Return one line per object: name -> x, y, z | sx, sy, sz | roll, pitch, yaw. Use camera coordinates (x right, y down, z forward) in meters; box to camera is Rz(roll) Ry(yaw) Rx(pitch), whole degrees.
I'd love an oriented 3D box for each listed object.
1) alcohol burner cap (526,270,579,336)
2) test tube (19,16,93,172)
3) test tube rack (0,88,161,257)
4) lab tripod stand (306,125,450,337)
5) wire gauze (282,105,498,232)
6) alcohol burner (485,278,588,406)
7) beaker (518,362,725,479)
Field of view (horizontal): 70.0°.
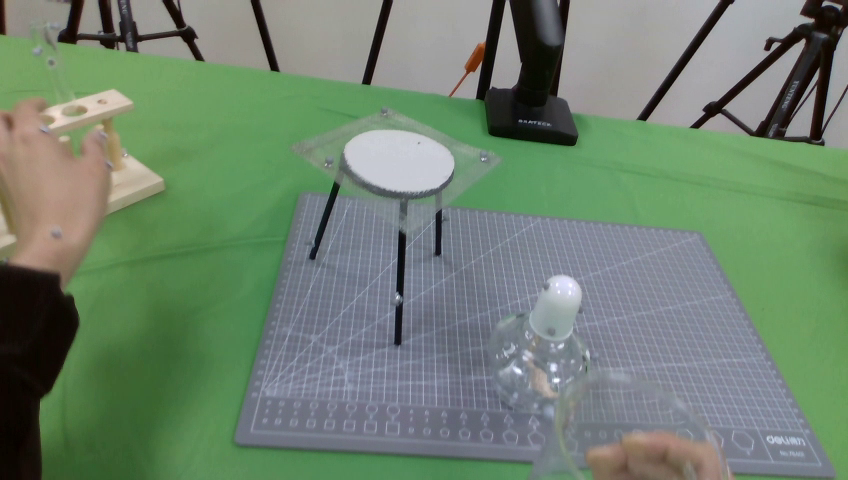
alcohol burner cap -> 0.093, 0.042, 0.427 | 0.034, 0.048, 0.033 | 4, 45, -3
test tube -> -0.324, -0.124, 0.539 | 0.017, 0.151, 0.017 | 3, 43, -3
test tube rack -> -0.358, -0.047, 0.518 | 0.066, 0.086, 0.242 | 32, 44, 23
lab tripod stand -> -0.030, -0.015, 0.509 | 0.149, 0.132, 0.147 | 7, 41, -6
wire gauze -> -0.023, -0.065, 0.465 | 0.124, 0.011, 0.121 | 33, 45, 23
alcohol burner -> 0.088, 0.069, 0.451 | 0.078, 0.120, 0.077 | 7, 39, -6
beaker -> 0.080, 0.120, 0.281 | 0.073, 0.101, 0.083 | 24, 38, 15
